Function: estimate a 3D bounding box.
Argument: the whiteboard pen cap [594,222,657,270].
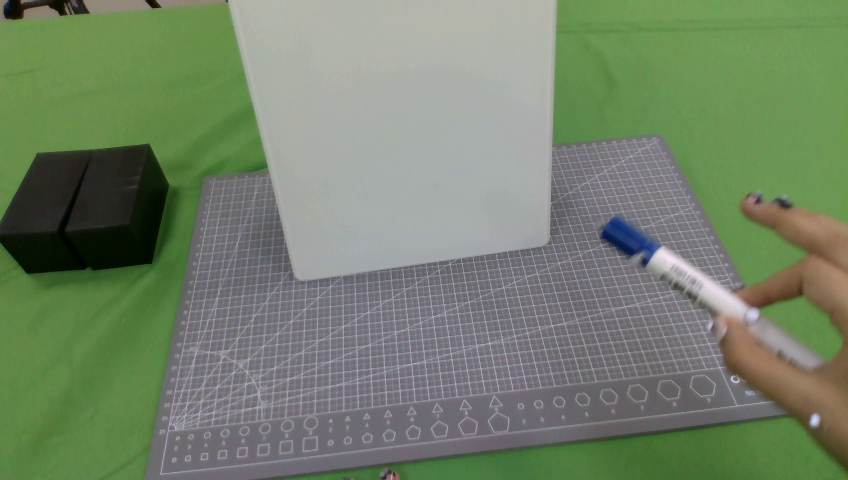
[{"bbox_3d":[0.116,0.005,0.352,0.033,0.018,0.018,39,60,23],"label":"whiteboard pen cap"}]

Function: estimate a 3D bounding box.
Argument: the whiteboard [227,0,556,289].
[{"bbox_3d":[-0.021,-0.139,0.485,0.217,0.308,0.142,-7,30,-3],"label":"whiteboard"}]

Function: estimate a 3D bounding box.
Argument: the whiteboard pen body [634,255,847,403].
[{"bbox_3d":[0.159,0.039,0.329,0.139,0.017,0.017,37,59,23],"label":"whiteboard pen body"}]
